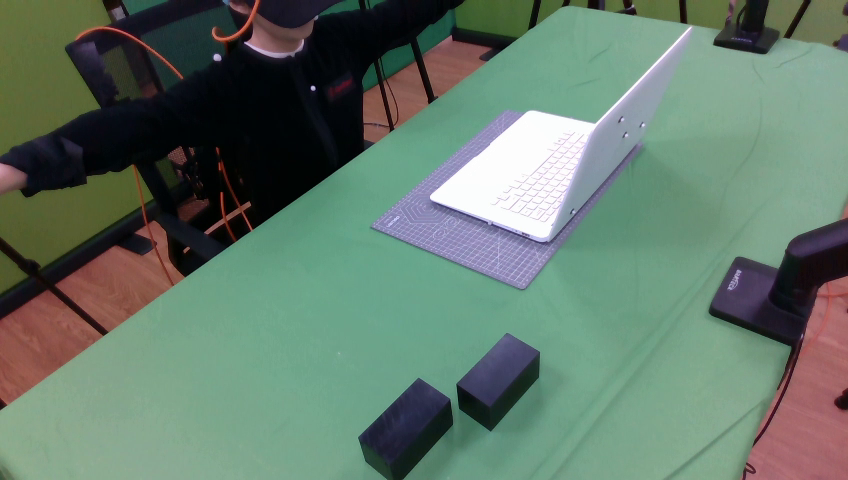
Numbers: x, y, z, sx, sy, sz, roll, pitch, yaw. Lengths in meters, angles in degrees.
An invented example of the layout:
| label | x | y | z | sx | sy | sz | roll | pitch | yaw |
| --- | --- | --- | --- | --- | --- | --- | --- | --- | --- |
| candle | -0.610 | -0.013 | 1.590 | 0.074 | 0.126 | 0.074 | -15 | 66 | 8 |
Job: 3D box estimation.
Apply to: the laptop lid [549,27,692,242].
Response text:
| label | x | y | z | sx | sy | sz | roll | pitch | yaw |
| --- | --- | --- | --- | --- | --- | --- | --- | --- | --- |
| laptop lid | 0.311 | -0.167 | 0.948 | 0.013 | 0.242 | 0.358 | 33 | 52 | 20 |

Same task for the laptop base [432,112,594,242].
| label | x | y | z | sx | sy | sz | roll | pitch | yaw |
| --- | --- | --- | --- | --- | --- | --- | --- | --- | --- |
| laptop base | 0.208 | -0.129 | 1.098 | 0.233 | 0.023 | 0.355 | 20 | 47 | 34 |
